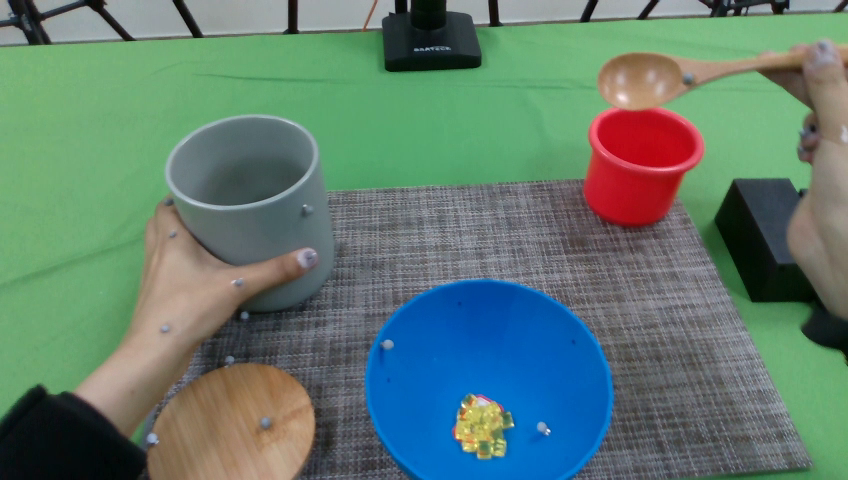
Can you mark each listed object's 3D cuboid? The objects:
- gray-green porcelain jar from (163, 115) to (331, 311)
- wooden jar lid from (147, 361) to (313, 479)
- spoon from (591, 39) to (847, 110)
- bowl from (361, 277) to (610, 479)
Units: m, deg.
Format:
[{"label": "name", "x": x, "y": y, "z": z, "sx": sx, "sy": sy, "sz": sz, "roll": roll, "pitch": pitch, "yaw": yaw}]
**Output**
[{"label": "gray-green porcelain jar", "x": -0.129, "y": -0.015, "z": 0.472, "sx": 0.106, "sy": 0.127, "sz": 0.105, "roll": 0, "pitch": 47, "yaw": 0}, {"label": "wooden jar lid", "x": -0.128, "y": 0.133, "z": 0.409, "sx": 0.108, "sy": 0.021, "sz": 0.107, "roll": 0, "pitch": 47, "yaw": 1}, {"label": "spoon", "x": 0.205, "y": -0.110, "z": 0.380, "sx": 0.193, "sy": 0.022, "sz": 0.041, "roll": -2, "pitch": 78, "yaw": 24}, {"label": "bowl", "x": 0.037, "y": 0.106, "z": 0.395, "sx": 0.151, "sy": 0.077, "sz": 0.150, "roll": 0, "pitch": 48, "yaw": 0}]
